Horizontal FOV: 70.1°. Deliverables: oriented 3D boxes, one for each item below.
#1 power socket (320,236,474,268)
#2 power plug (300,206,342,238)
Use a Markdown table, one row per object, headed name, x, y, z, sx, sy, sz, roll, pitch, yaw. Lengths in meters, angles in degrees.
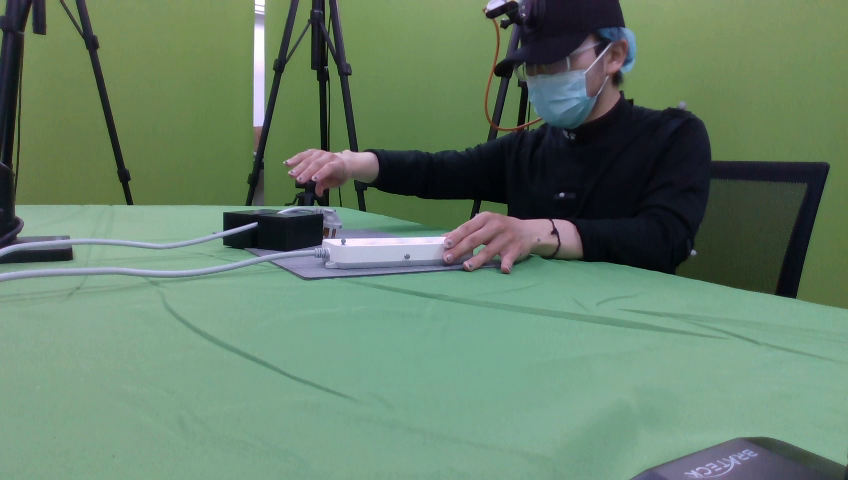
| name | x | y | z | sx | sy | sz | roll | pitch | yaw |
| --- | --- | --- | --- | --- | --- | --- | --- | --- | --- |
| power socket | -0.033 | 0.014 | 0.824 | 0.228 | 0.032 | 0.072 | -2 | 7 | -30 |
| power plug | -0.176 | -0.030 | 1.022 | 0.073 | 0.052 | 0.035 | 7 | 6 | -14 |
